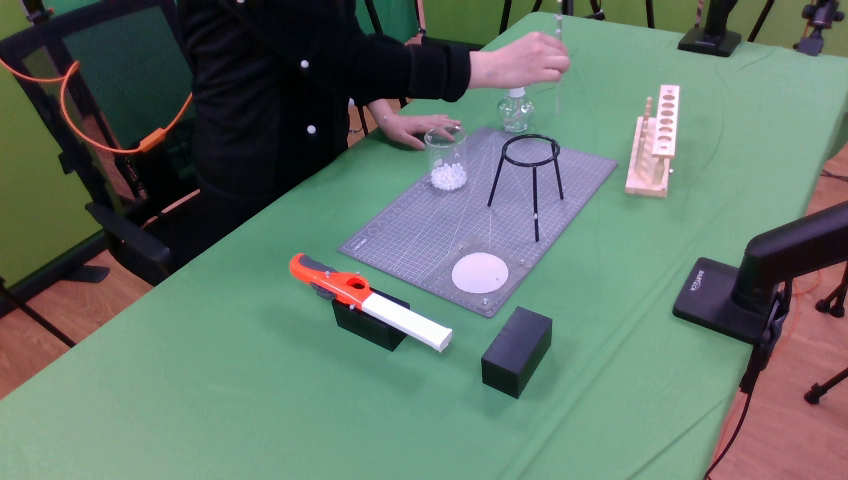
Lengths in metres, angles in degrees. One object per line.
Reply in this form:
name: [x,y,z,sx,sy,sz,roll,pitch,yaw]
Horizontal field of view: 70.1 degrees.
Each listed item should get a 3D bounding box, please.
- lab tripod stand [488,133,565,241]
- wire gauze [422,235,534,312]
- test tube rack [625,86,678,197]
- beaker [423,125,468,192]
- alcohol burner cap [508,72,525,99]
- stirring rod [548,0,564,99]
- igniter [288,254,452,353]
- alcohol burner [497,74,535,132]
lab tripod stand: [0.168,-0.093,0.972,0.148,0.132,0.147,-5,41,5]
wire gauze: [0.082,0.049,0.914,0.120,0.011,0.125,26,53,32]
test tube rack: [0.412,-0.184,1.088,0.066,0.085,0.242,9,43,18]
beaker: [0.043,-0.144,1.078,0.073,0.100,0.084,28,51,34]
alcohol burner cap: [0.181,-0.306,1.186,0.034,0.048,0.033,-7,39,6]
stirring rod: [0.201,-0.288,0.928,0.006,0.177,0.014,26,61,23]
igniter: [-0.083,0.079,0.818,0.274,0.025,0.057,23,46,27]
alcohol burner: [0.184,-0.278,1.210,0.078,0.119,0.077,-3,43,3]
